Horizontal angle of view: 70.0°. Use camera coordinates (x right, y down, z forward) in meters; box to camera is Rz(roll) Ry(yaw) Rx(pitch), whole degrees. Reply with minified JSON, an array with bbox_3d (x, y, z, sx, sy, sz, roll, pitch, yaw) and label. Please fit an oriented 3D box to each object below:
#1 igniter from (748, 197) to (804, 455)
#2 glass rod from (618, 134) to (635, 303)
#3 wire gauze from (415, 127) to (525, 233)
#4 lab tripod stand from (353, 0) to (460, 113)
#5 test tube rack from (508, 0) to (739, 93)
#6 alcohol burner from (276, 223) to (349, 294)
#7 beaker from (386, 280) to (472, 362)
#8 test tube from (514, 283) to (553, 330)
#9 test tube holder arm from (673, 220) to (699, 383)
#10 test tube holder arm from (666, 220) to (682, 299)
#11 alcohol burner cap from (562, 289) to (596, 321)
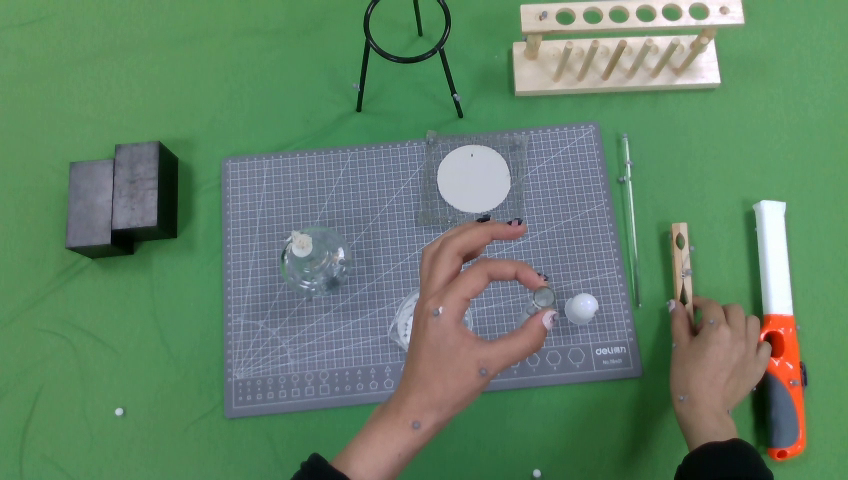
[{"bbox_3d":[0.376,0.087,0.652,0.057,0.025,0.275,5,76,-8],"label":"igniter"},{"bbox_3d":[0.232,-0.027,0.692,0.008,0.008,0.199,0,79,1],"label":"glass rod"},{"bbox_3d":[0.055,-0.073,0.705,0.125,0.011,0.121,5,78,2],"label":"wire gauze"},{"bbox_3d":[-0.021,-0.206,0.678,0.148,0.132,0.147,0,78,2],"label":"lab tripod stand"},{"bbox_3d":[0.225,-0.225,0.701,0.242,0.085,0.066,-2,76,1],"label":"test tube rack"},{"bbox_3d":[-0.120,0.015,0.633,0.078,0.120,0.077,-1,75,4],"label":"alcohol burner"},{"bbox_3d":[0.006,0.088,0.620,0.084,0.101,0.073,-13,75,-1],"label":"beaker"},{"bbox_3d":[0.084,0.055,0.476,0.017,0.151,0.017,-1,75,4],"label":"test tube"},{"bbox_3d":[0.286,0.065,0.662,0.013,0.015,0.177,-7,77,17],"label":"test tube holder arm"},{"bbox_3d":[0.279,0.022,0.673,0.010,0.015,0.087,-5,78,18],"label":"test tube holder arm"},{"bbox_3d":[0.168,0.068,0.651,0.034,0.048,0.033,0,76,2],"label":"alcohol burner cap"}]
